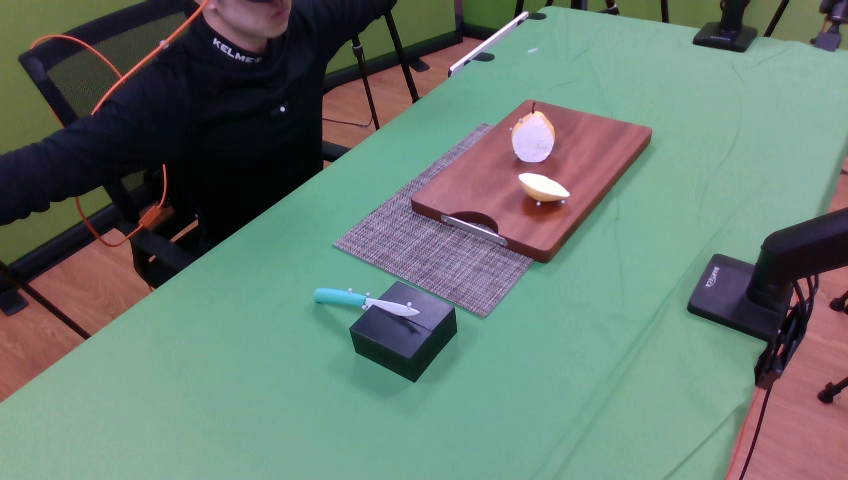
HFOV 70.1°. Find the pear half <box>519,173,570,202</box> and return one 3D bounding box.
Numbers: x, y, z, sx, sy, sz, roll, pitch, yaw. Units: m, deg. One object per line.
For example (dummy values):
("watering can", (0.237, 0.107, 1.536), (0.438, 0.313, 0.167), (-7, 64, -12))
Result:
("pear half", (0.193, -0.080, 0.981), (0.087, 0.031, 0.071), (34, 38, 22))

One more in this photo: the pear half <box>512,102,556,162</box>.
("pear half", (0.193, -0.197, 1.060), (0.076, 0.110, 0.056), (3, 41, 6))

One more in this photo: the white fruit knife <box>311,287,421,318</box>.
("white fruit knife", (-0.084, 0.086, 0.831), (0.206, 0.027, 0.016), (5, 30, 38))
